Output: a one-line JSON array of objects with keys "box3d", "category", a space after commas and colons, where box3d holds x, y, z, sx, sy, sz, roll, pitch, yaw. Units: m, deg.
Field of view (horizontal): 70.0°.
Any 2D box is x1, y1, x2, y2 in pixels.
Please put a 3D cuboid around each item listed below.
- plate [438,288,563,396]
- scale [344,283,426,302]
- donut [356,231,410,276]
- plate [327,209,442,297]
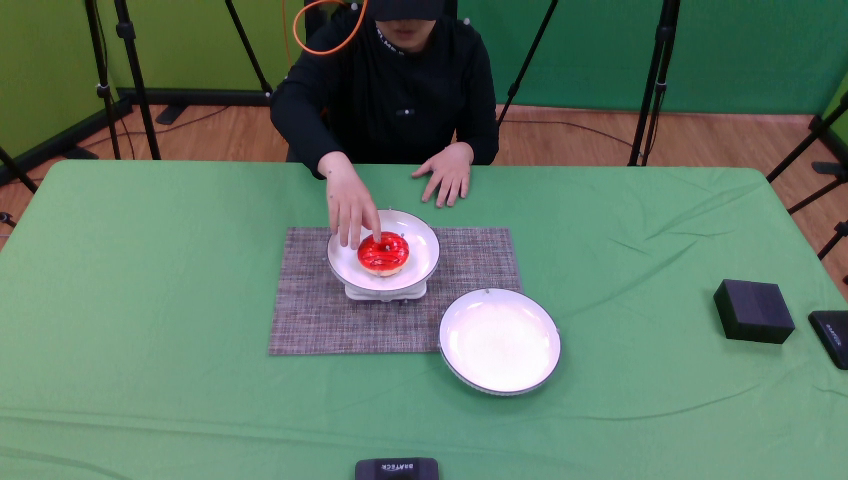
[{"box3d": [0.127, 0.173, 1.025, 0.209, 0.038, 0.208, 3, 48, -3], "category": "plate"}, {"box3d": [-0.075, 0.033, 1.149, 0.149, 0.032, 0.199, 0, 45, -5], "category": "scale"}, {"box3d": [-0.073, 0.022, 1.097, 0.099, 0.048, 0.098, 0, 45, 0], "category": "donut"}, {"box3d": [-0.071, 0.027, 1.110, 0.208, 0.039, 0.206, 2, 46, -1], "category": "plate"}]
